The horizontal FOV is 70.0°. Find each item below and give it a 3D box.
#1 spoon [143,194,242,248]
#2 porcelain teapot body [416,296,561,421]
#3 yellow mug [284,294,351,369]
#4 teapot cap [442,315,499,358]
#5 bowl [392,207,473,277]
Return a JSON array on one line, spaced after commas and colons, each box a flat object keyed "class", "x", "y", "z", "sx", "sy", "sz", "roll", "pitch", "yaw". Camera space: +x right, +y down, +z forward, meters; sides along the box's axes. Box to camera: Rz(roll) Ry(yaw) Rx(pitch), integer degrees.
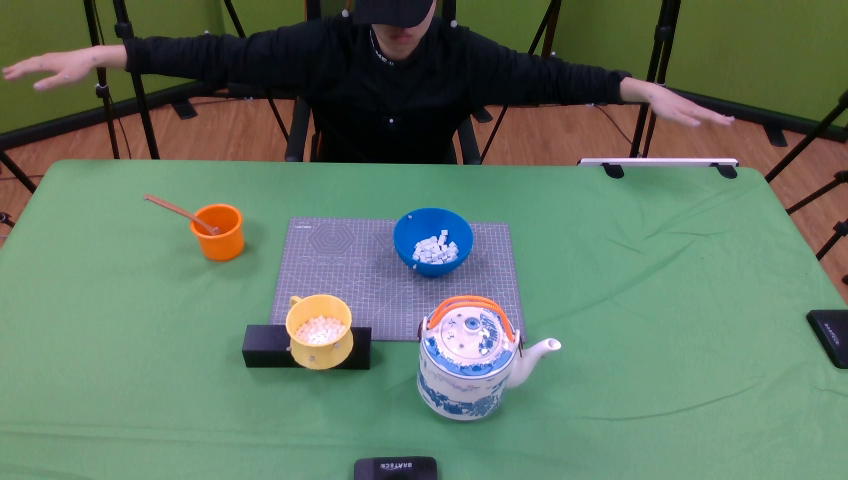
[{"class": "spoon", "x": -0.421, "y": -0.036, "z": 1.112, "sx": 0.021, "sy": 0.195, "sz": 0.041, "roll": -36, "pitch": 38, "yaw": 24}, {"class": "porcelain teapot body", "x": 0.094, "y": 0.164, "z": 0.907, "sx": 0.205, "sy": 0.226, "sz": 0.144, "roll": 6, "pitch": 45, "yaw": 1}, {"class": "yellow mug", "x": -0.175, "y": 0.134, "z": 0.955, "sx": 0.100, "sy": 0.064, "sz": 0.130, "roll": -33, "pitch": 56, "yaw": -31}, {"class": "teapot cap", "x": 0.068, "y": 0.133, "z": 0.880, "sx": 0.085, "sy": 0.044, "sz": 0.084, "roll": 4, "pitch": 46, "yaw": -4}, {"class": "bowl", "x": 0.014, "y": 0.016, "z": 1.140, "sx": 0.151, "sy": 0.077, "sz": 0.150, "roll": 2, "pitch": 46, "yaw": -2}]
